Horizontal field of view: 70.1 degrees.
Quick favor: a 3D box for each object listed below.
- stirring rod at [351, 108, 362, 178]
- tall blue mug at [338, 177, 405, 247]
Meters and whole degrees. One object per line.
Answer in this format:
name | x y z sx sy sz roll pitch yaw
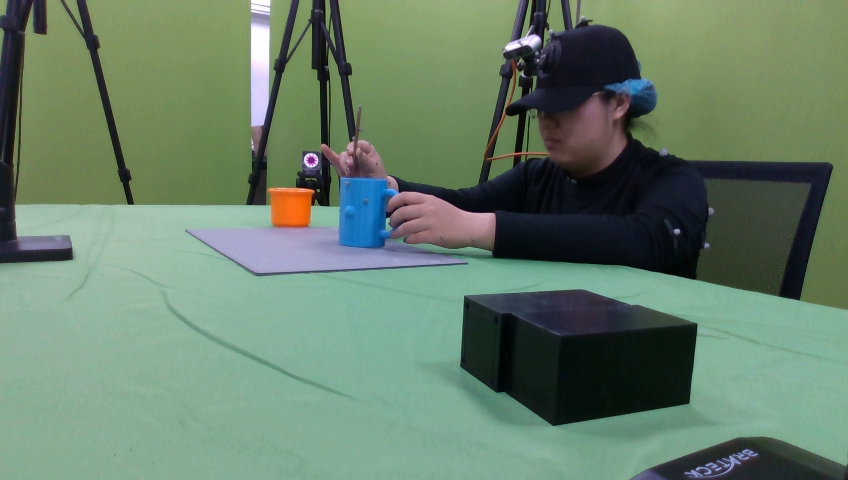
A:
stirring rod | -0.114 -0.127 0.984 0.006 0.176 0.014 6 1 -4
tall blue mug | -0.083 -0.046 0.977 0.107 0.108 0.078 2 6 -1
